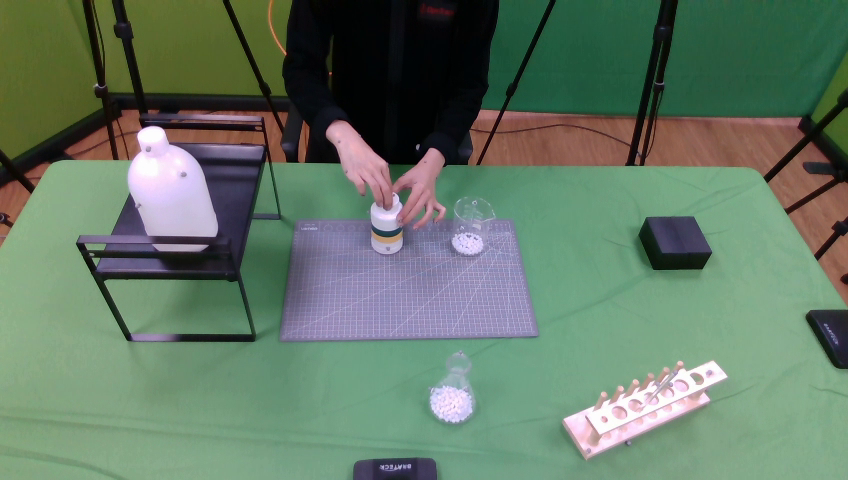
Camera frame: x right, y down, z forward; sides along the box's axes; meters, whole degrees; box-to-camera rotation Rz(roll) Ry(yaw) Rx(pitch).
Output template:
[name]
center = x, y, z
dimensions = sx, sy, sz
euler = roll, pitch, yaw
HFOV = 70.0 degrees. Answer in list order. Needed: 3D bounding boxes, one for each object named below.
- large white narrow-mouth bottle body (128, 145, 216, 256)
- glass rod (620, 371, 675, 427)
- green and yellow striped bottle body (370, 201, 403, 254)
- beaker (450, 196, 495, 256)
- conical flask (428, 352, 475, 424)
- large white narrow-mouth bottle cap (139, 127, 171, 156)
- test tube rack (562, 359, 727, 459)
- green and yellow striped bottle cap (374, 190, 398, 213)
[large white narrow-mouth bottle body]
center = -0.366, -0.073, 0.872
dimensions = 0.102, 0.195, 0.101
euler = 3, 47, -3
[glass rod]
center = 0.316, 0.230, 0.863
dimensions = 0.008, 0.200, 0.008
euler = 3, 54, -3
[green and yellow striped bottle body]
center = -0.072, -0.035, 1.153
dimensions = 0.063, 0.120, 0.063
euler = 2, 46, -2
[beaker]
center = 0.092, -0.024, 1.170
dimensions = 0.084, 0.101, 0.073
euler = 15, 48, 10
[conical flask]
center = 0.046, 0.220, 0.920
dimensions = 0.075, 0.122, 0.075
euler = 2, 46, -2
[large white narrow-mouth bottle cap]
center = -0.359, -0.132, 0.807
dimensions = 0.038, 0.024, 0.037
euler = 3, 47, -3
[test tube rack]
center = 0.341, 0.247, 0.940
dimensions = 0.243, 0.085, 0.066
euler = -16, 49, -18
[green and yellow striped bottle cap]
center = -0.070, -0.072, 1.116
dimensions = 0.045, 0.020, 0.045
euler = 4, 48, -5
